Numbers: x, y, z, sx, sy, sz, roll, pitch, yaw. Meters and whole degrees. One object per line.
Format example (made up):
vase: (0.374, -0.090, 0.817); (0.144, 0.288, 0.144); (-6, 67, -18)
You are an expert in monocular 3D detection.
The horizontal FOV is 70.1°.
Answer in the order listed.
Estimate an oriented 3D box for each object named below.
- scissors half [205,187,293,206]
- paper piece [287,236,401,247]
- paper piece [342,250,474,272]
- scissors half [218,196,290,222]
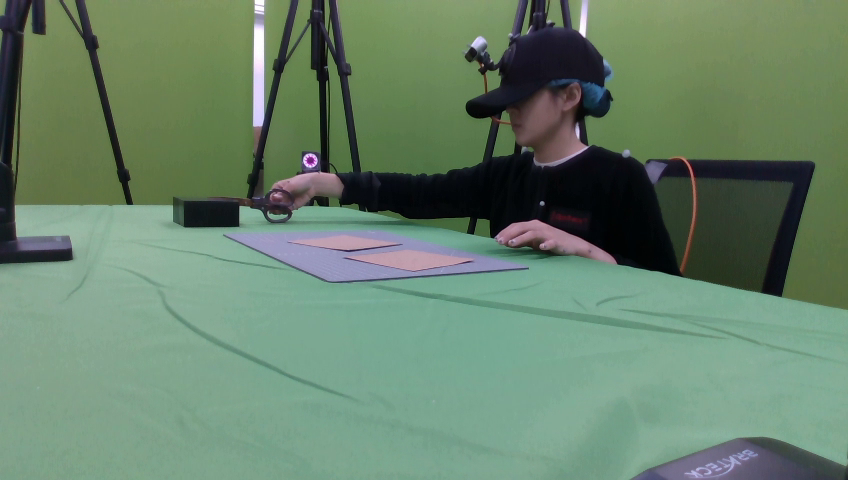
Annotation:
scissors half: (-0.352, -0.085, 1.228); (0.176, 0.040, 0.012); (-5, 24, -31)
paper piece: (-0.130, 0.004, 0.986); (0.137, 0.008, 0.137); (7, 4, 35)
paper piece: (-0.023, 0.027, 0.848); (0.135, 0.004, 0.136); (8, 9, 39)
scissors half: (-0.356, -0.067, 1.233); (0.176, 0.040, 0.013); (14, 8, -35)
